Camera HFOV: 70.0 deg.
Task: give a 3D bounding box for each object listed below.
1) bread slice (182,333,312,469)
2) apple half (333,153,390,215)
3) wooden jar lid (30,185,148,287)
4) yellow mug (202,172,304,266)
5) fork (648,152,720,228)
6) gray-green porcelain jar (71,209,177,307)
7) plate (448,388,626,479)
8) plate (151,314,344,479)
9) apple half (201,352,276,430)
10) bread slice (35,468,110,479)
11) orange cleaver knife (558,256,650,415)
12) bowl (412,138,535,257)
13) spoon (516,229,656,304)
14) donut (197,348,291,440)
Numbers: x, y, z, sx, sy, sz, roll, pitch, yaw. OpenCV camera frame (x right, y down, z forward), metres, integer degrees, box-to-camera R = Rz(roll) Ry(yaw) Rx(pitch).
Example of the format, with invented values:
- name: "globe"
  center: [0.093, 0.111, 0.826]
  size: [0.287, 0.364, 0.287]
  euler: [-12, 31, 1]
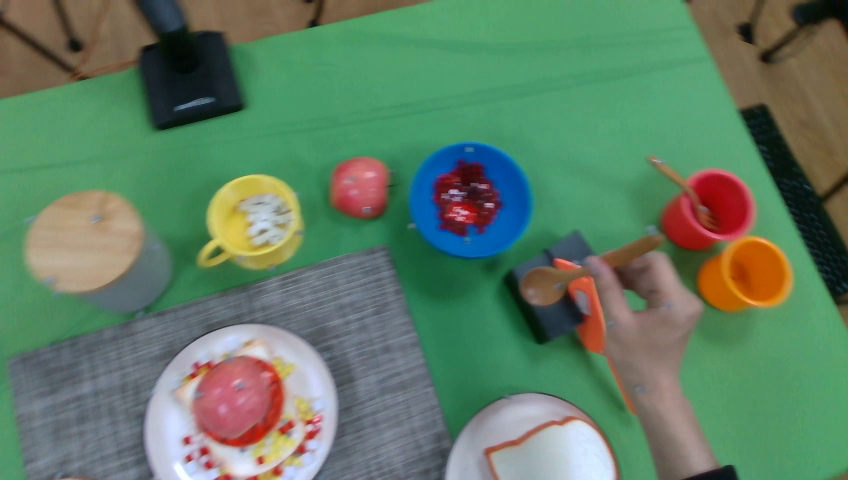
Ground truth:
- name: "bread slice"
  center: [-0.190, 0.187, 0.686]
  size: [0.107, 0.018, 0.134]
  euler: [-34, 80, -14]
- name: "apple half"
  center: [-0.080, -0.076, 0.771]
  size: [0.075, 0.053, 0.080]
  euler: [5, 74, -3]
- name: "wooden jar lid"
  center: [-0.335, -0.003, 0.614]
  size: [0.108, 0.021, 0.107]
  euler: [3, 71, -7]
- name: "yellow mug"
  center: [-0.210, -0.015, 0.731]
  size: [0.131, 0.064, 0.099]
  euler: [-39, 82, -15]
- name: "fork"
  center: [0.333, -0.061, 0.766]
  size: [0.209, 0.018, 0.028]
  euler: [30, 65, -42]
- name: "gray-green porcelain jar"
  center: [-0.341, 0.015, 0.675]
  size: [0.106, 0.127, 0.105]
  euler: [2, 73, -6]
- name: "plate"
  center: [0.128, 0.279, 0.700]
  size: [0.209, 0.038, 0.208]
  euler: [2, 73, -7]
- name: "plate"
  center: [-0.195, 0.190, 0.684]
  size: [0.208, 0.039, 0.206]
  euler: [2, 74, -6]
- name: "apple half"
  center: [-0.194, 0.156, 0.626]
  size: [0.081, 0.033, 0.081]
  euler: [0, 72, 0]
- name: "bread slice"
  center: [-0.381, 0.310, 0.637]
  size: [0.105, 0.019, 0.131]
  euler: [-9, 76, -10]
- name: "orange cleaver knife"
  center: [0.216, 0.115, 0.735]
  size: [0.012, 0.077, 0.212]
  euler: [-28, 100, -21]
- name: "bowl"
  center: [0.056, -0.043, 0.764]
  size: [0.151, 0.077, 0.150]
  euler: [2, 74, -6]
- name: "spoon"
  center: [0.137, 0.026, 0.542]
  size: [0.021, 0.194, 0.041]
  euler: [-31, 87, -25]
- name: "donut"
  center: [-0.195, 0.167, 0.660]
  size: [0.099, 0.048, 0.098]
  euler: [2, 74, -5]
